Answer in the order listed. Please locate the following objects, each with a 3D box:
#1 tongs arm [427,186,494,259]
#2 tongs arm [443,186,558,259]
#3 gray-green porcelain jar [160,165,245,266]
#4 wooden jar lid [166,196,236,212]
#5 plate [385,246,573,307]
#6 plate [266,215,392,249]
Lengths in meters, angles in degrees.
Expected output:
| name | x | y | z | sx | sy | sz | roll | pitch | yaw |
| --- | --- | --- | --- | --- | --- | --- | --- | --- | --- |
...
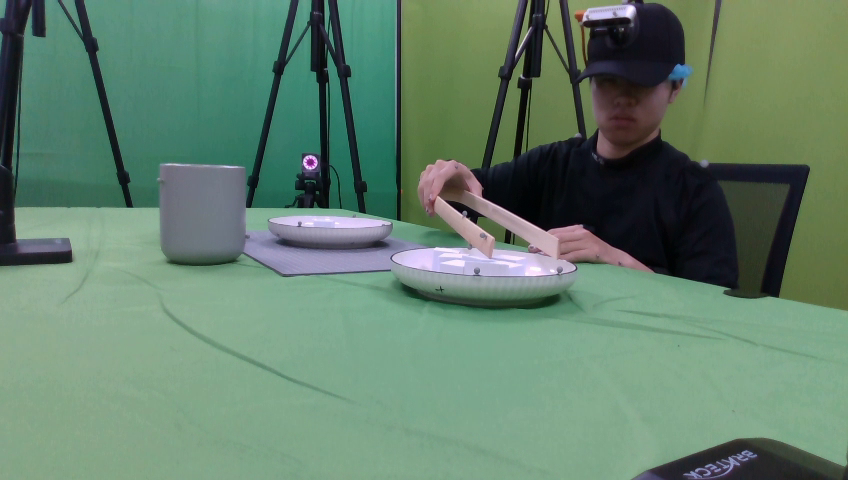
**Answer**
| name | x | y | z | sx | sy | sz | roll | pitch | yaw |
| --- | --- | --- | --- | --- | --- | --- | --- | --- | --- |
| tongs arm | 0.051 | -0.035 | 0.846 | 0.051 | 0.026 | 0.383 | -1 | 14 | -13 |
| tongs arm | 0.096 | -0.035 | 0.856 | 0.028 | 0.028 | 0.386 | -5 | 15 | -14 |
| gray-green porcelain jar | -0.291 | -0.034 | 0.799 | 0.106 | 0.126 | 0.106 | 2 | 8 | 0 |
| wooden jar lid | -0.369 | -0.060 | 1.001 | 0.108 | 0.020 | 0.108 | 3 | 6 | 0 |
| plate | 0.060 | 0.041 | 0.678 | 0.208 | 0.039 | 0.207 | 3 | 7 | 0 |
| plate | -0.159 | -0.015 | 1.019 | 0.209 | 0.038 | 0.209 | 3 | 7 | 0 |
